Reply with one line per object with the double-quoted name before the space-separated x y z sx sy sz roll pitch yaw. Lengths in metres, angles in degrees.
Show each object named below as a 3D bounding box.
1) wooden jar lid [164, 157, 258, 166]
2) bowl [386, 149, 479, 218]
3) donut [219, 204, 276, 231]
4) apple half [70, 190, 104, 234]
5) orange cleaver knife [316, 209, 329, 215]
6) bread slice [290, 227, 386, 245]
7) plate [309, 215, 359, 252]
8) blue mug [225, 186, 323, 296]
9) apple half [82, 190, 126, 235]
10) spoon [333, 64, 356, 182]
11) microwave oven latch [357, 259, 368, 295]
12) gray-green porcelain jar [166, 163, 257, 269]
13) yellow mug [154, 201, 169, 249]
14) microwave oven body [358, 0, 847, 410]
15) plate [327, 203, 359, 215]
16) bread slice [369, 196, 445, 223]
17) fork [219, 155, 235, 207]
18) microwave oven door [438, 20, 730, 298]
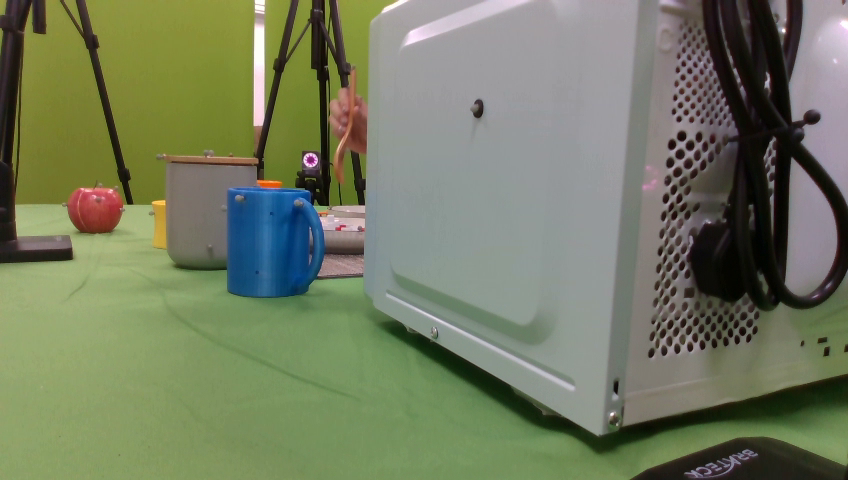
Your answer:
"wooden jar lid" -0.261 -0.093 0.746 0.108 0.020 0.108 0 9 0
"bowl" 0.022 -0.082 0.950 0.151 0.076 0.151 -16 -2 0
"donut" -0.316 -0.039 1.083 0.099 0.048 0.099 3 7 0
"apple half" -0.552 -0.047 1.010 0.053 0.074 0.081 -1 9 26
"orange cleaver knife" -0.259 -0.064 1.423 0.212 0.012 0.077 -4 3 -30
"bread slice" -0.124 -0.007 0.937 0.131 0.019 0.105 3 7 32
"plate" -0.130 -0.011 0.945 0.208 0.039 0.207 2 8 0
"blue mug" -0.148 0.000 0.618 0.116 0.106 0.083 7 9 33
"apple half" -0.516 -0.046 0.994 0.032 0.081 0.081 0 6 26
"spoon" -0.120 -0.185 0.949 0.021 0.193 0.041 7 -11 7
"microwave oven latch" -0.019 0.031 0.529 0.079 0.029 0.030 -1 7 -26
"gray-green porcelain jar" -0.263 -0.031 0.754 0.106 0.126 0.106 2 7 0
"yellow mug" -0.337 -0.022 0.899 0.130 0.064 0.100 7 10 34
"microwave oven body" 0.210 -0.051 0.471 0.444 0.260 0.324 -1 7 -28
"plate" -0.102 -0.053 1.299 0.209 0.038 0.209 2 8 0
"bread slice" -0.040 -0.057 1.142 0.107 0.018 0.133 -8 -8 -39
"fork" -0.459 -0.134 1.415 0.028 0.018 0.207 -1 -34 -25
"microwave oven door" 0.181 -0.076 0.618 0.358 0.243 0.039 -2 8 -28
